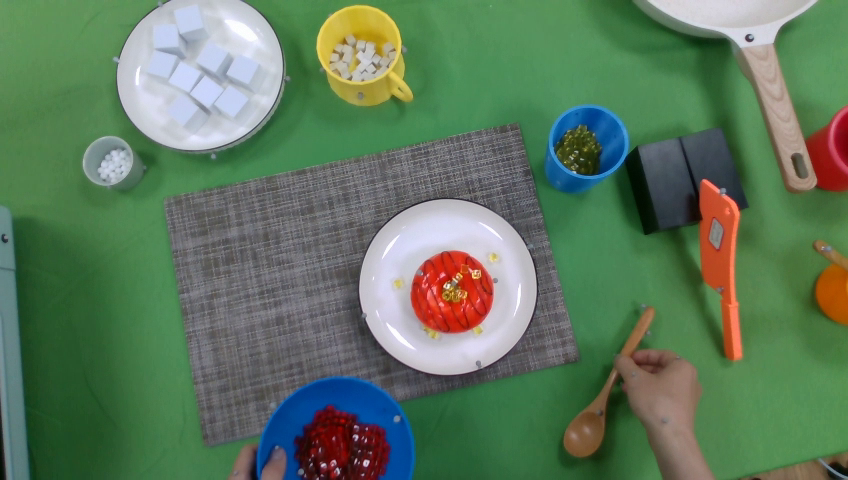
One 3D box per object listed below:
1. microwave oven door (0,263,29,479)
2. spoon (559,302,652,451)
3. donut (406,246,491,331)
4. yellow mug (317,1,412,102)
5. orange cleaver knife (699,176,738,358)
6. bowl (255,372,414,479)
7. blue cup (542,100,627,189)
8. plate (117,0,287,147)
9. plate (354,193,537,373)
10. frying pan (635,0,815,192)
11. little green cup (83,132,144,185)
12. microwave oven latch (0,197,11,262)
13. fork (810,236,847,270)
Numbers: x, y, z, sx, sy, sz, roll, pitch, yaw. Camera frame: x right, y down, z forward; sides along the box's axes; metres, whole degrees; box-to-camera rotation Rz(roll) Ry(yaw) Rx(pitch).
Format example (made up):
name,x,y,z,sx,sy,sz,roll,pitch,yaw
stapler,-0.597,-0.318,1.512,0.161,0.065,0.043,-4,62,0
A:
name,x,y,z,sx,sy,sz,roll,pitch,yaw
microwave oven door,-0.479,0.186,0.581,0.039,0.244,0.354,-9,82,0
spoon,0.213,0.154,0.694,0.041,0.022,0.193,27,86,41
donut,0.029,0.056,0.696,0.099,0.048,0.099,0,85,1
yellow mug,-0.064,-0.218,0.738,0.130,0.064,0.100,40,84,5
orange cleaver knife,0.333,0.032,0.688,0.012,0.076,0.212,-13,110,-1
bowl,-0.091,0.209,0.617,0.152,0.077,0.150,2,79,-11
blue cup,0.176,-0.101,0.699,0.092,0.100,0.092,0,80,0
plate,-0.271,-0.212,0.755,0.208,0.039,0.207,0,82,1
plate,0.025,0.050,0.709,0.209,0.038,0.208,0,83,1
frying pan,0.375,-0.286,0.721,0.307,0.103,0.484,-7,74,1
little green cup,-0.376,-0.097,0.738,0.061,0.039,0.061,0,82,0
microwave oven latch,-0.509,-0.013,0.711,0.030,0.029,0.079,-8,82,-1
fork,0.456,0.033,0.651,0.209,0.018,0.028,24,80,-39
